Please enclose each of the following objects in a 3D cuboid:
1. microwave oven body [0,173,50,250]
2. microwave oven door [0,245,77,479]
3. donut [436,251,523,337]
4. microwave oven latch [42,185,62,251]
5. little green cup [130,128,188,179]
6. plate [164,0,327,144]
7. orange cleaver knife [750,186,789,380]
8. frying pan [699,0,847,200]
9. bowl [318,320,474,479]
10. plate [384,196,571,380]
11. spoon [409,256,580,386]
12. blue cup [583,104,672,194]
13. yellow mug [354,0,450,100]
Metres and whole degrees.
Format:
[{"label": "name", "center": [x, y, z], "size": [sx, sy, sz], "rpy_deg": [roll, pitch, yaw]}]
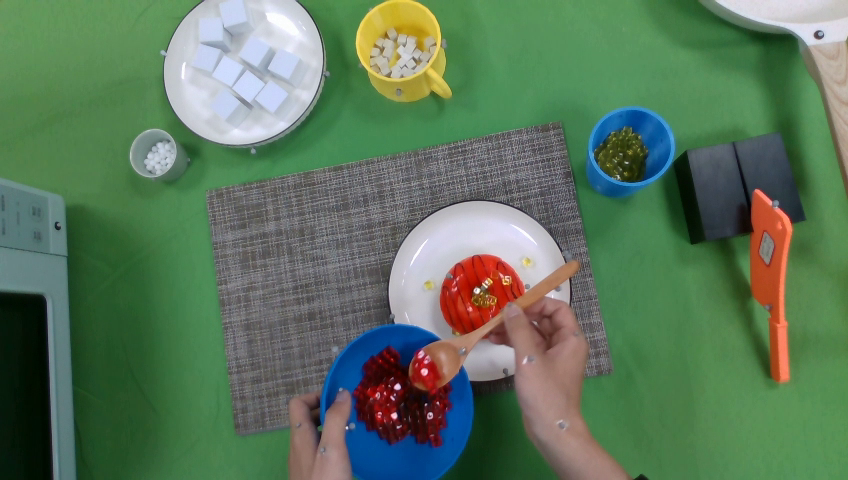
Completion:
[{"label": "microwave oven body", "center": [-0.605, 0.155, 0.647], "size": [0.326, 0.261, 0.440], "rpy_deg": [-7, 83, 5]}, {"label": "microwave oven door", "center": [-0.457, 0.178, 0.623], "size": [0.039, 0.244, 0.354], "rpy_deg": [-8, 82, 6]}, {"label": "donut", "center": [0.063, 0.061, 0.683], "size": [0.099, 0.048, 0.099], "rpy_deg": [0, 87, 7]}, {"label": "microwave oven latch", "center": [-0.468, -0.026, 0.750], "size": [0.030, 0.029, 0.079], "rpy_deg": [-4, 84, 5]}, {"label": "little green cup", "center": [-0.330, -0.106, 0.760], "size": [0.061, 0.039, 0.061], "rpy_deg": [-1, 84, 6]}, {"label": "plate", "center": [-0.220, -0.219, 0.762], "size": [0.207, 0.039, 0.207], "rpy_deg": [-1, 83, 7]}, {"label": "orange cleaver knife", "center": [0.365, 0.048, 0.643], "size": [0.012, 0.076, 0.212], "rpy_deg": [-11, 111, 5]}, {"label": "frying pan", "center": [0.419, -0.270, 0.661], "size": [0.306, 0.103, 0.485], "rpy_deg": [-5, 75, 7]}, {"label": "bowl", "center": [-0.036, 0.159, 0.593], "size": [0.152, 0.077, 0.150], "rpy_deg": [7, 72, -21]}, {"label": "plate", "center": [0.060, 0.054, 0.696], "size": [0.209, 0.038, 0.208], "rpy_deg": [-1, 84, 7]}, {"label": "spoon", "center": [0.066, 0.075, 0.566], "size": [0.194, 0.022, 0.041], "rpy_deg": [-37, 76, 14]}, {"label": "blue cup", "center": [0.214, -0.091, 0.666], "size": [0.092, 0.100, 0.092], "rpy_deg": [-1, 82, 6]}, {"label": "yellow mug", "center": [-0.017, -0.217, 0.725], "size": [0.130, 0.064, 0.100], "rpy_deg": [43, 89, 8]}]
